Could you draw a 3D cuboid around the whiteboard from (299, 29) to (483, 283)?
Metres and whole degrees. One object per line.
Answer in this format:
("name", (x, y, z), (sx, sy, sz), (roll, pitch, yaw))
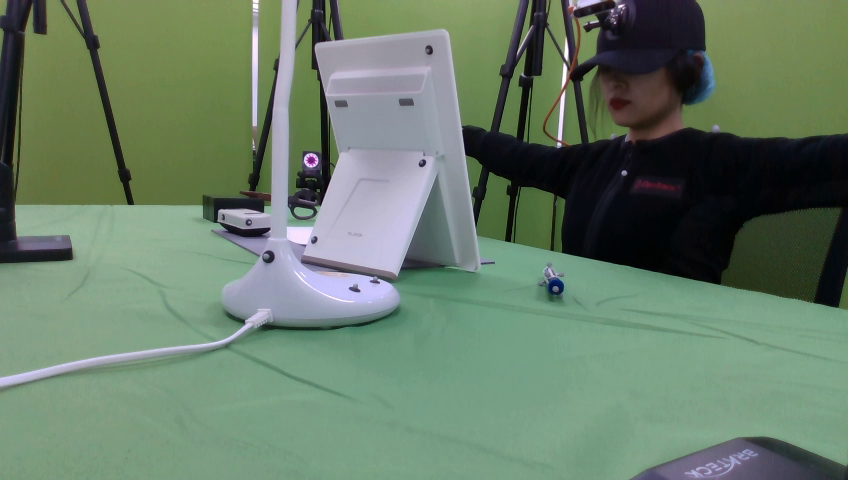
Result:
("whiteboard", (-0.074, -0.082, 0.742), (0.216, 0.305, 0.144), (9, 29, 38))

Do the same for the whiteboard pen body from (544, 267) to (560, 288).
("whiteboard pen body", (0.149, 0.046, 0.697), (0.017, 0.017, 0.141), (4, 4, 9))

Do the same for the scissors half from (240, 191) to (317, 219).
("scissors half", (-0.317, -0.079, 1.326), (0.176, 0.040, 0.013), (18, 15, -31))

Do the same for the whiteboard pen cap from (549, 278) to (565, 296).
("whiteboard pen cap", (0.140, 0.050, 0.639), (0.018, 0.018, 0.033), (4, 2, 9))

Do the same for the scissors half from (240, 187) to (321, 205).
("scissors half", (-0.311, -0.097, 1.319), (0.176, 0.040, 0.012), (-1, 30, -25))

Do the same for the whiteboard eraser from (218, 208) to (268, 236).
("whiteboard eraser", (-0.309, -0.031, 1.044), (0.056, 0.042, 0.112), (-2, 9, -40))

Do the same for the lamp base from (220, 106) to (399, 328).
("lamp base", (-0.101, -0.023, 0.531), (0.160, 0.180, 0.179), (4, 10, 10))
